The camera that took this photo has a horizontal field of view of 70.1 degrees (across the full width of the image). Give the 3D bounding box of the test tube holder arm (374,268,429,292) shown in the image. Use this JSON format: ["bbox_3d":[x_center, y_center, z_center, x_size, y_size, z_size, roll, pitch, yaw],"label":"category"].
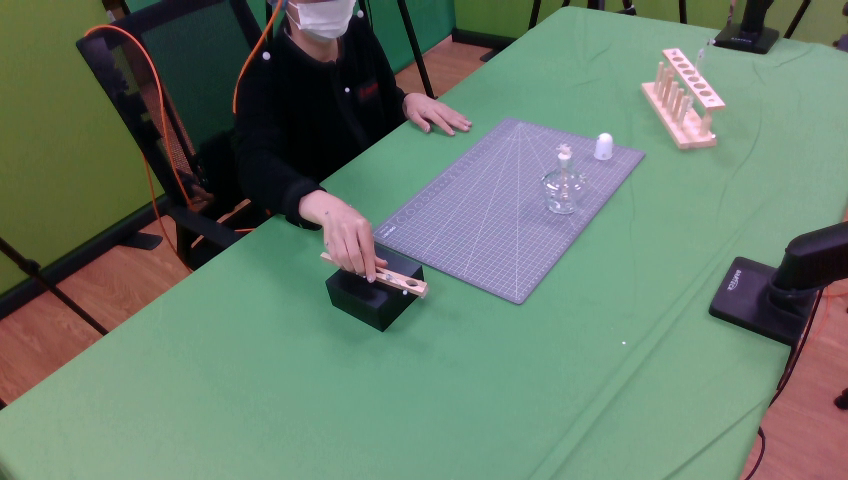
[{"bbox_3d":[-0.034,0.056,0.840,0.087,0.015,0.010,14,46,24],"label":"test tube holder arm"}]

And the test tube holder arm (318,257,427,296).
[{"bbox_3d":[-0.076,0.051,0.854,0.177,0.015,0.013,13,46,23],"label":"test tube holder arm"}]

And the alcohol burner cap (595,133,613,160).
[{"bbox_3d":[0.330,-0.172,1.104,0.034,0.048,0.033,-5,41,5],"label":"alcohol burner cap"}]

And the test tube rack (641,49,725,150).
[{"bbox_3d":[0.495,-0.279,1.175,0.067,0.085,0.241,-5,41,3],"label":"test tube rack"}]

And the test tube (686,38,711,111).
[{"bbox_3d":[0.508,-0.305,1.128,0.017,0.151,0.017,-2,46,3],"label":"test tube"}]

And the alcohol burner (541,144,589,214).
[{"bbox_3d":[0.229,-0.102,0.983,0.078,0.119,0.077,-6,41,5],"label":"alcohol burner"}]
